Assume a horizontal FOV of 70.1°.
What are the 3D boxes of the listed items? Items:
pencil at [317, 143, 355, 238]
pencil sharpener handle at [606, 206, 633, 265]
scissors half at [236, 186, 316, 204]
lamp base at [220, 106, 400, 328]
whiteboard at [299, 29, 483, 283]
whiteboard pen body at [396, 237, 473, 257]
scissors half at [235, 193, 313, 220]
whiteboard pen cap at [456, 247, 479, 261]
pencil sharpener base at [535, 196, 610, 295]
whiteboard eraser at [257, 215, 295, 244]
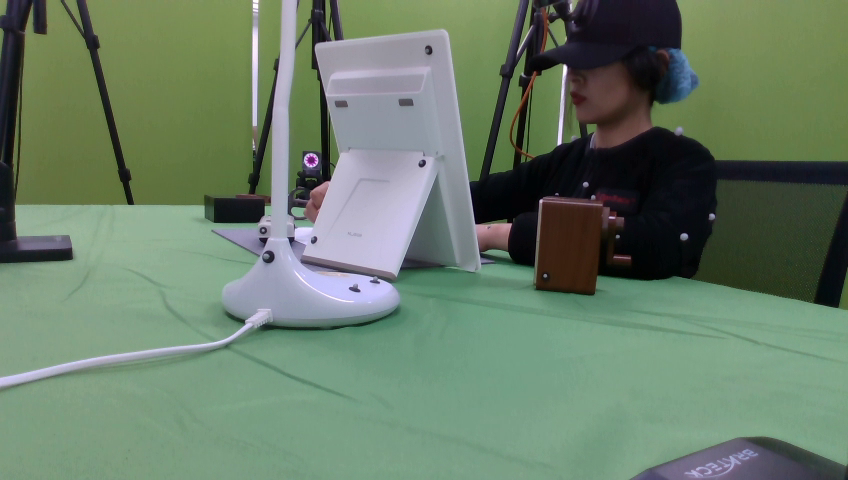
[{"bbox_3d":[-0.154,-0.088,1.057,0.012,0.194,0.012,15,-21,6],"label":"pencil"},{"bbox_3d":[0.223,-0.004,0.683,0.030,0.068,0.036,5,21,16],"label":"pencil sharpener handle"},{"bbox_3d":[-0.320,-0.097,1.316,0.176,0.040,0.013,-3,11,-29],"label":"scissors half"},{"bbox_3d":[-0.101,-0.023,0.531,0.160,0.180,0.179,4,10,10],"label":"lamp base"},{"bbox_3d":[-0.074,-0.082,0.742,0.216,0.305,0.144,9,30,38],"label":"whiteboard"},{"bbox_3d":[0.014,0.012,0.886,0.140,0.017,0.017,10,10,38],"label":"whiteboard pen body"},{"bbox_3d":[-0.325,-0.077,1.319,0.176,0.040,0.012,17,6,-32],"label":"scissors half"},{"bbox_3d":[0.060,0.020,0.851,0.033,0.018,0.018,10,10,37],"label":"whiteboard pen cap"},{"bbox_3d":[0.172,0.005,0.695,0.076,0.107,0.061,5,7,16],"label":"pencil sharpener base"},{"bbox_3d":[-0.232,-0.016,0.951,0.056,0.042,0.112,2,7,-12],"label":"whiteboard eraser"}]
